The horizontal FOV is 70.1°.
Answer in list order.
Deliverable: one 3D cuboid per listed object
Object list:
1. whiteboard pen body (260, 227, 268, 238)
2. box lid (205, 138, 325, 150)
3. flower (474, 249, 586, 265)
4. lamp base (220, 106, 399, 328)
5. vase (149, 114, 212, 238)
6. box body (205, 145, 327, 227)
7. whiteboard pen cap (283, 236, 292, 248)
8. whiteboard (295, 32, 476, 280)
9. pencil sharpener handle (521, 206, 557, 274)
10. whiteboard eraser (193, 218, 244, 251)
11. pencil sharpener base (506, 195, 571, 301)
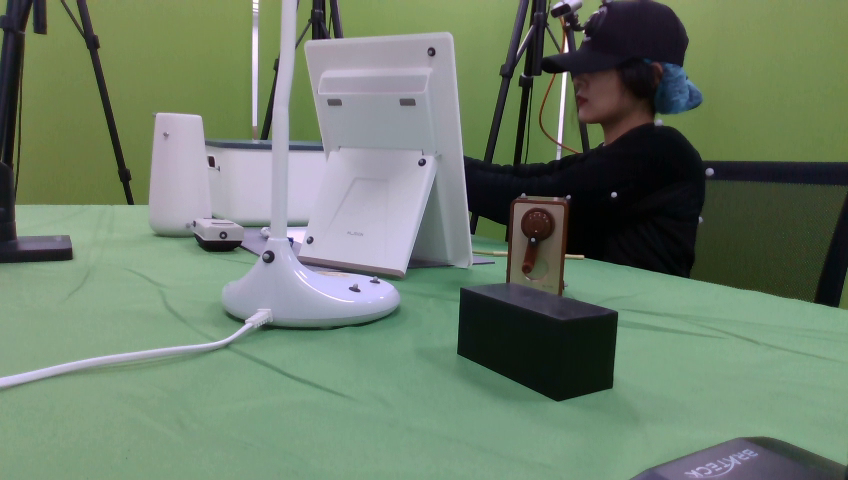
[{"bbox_3d":[-0.239,-0.005,0.964,0.017,0.017,0.140,-2,9,-28],"label":"whiteboard pen body"},{"bbox_3d":[-0.272,-0.205,1.310,0.373,0.015,0.262,-4,13,-30],"label":"box lid"},{"bbox_3d":[0.072,0.016,0.934,0.362,0.038,0.044,7,2,-2],"label":"flower"},{"bbox_3d":[-0.102,-0.023,0.531,0.160,0.180,0.179,4,10,10],"label":"lamp base"},{"bbox_3d":[-0.405,-0.106,1.006,0.098,0.200,0.098,2,6,0],"label":"vase"},{"bbox_3d":[-0.276,-0.122,1.320,0.366,0.160,0.253,-2,9,-30],"label":"box body"},{"bbox_3d":[-0.211,0.003,0.913,0.018,0.018,0.033,-2,6,-28],"label":"whiteboard pen cap"},{"bbox_3d":[-0.076,-0.084,0.747,0.216,0.305,0.144,7,28,29],"label":"whiteboard"},{"bbox_3d":[0.112,0.000,0.611,0.036,0.067,0.031,13,10,11],"label":"pencil sharpener handle"},{"bbox_3d":[-0.307,-0.010,0.900,0.056,0.042,0.112,-4,10,-28],"label":"whiteboard eraser"},{"bbox_3d":[0.126,0.007,0.662,0.061,0.107,0.077,4,8,13],"label":"pencil sharpener base"}]
